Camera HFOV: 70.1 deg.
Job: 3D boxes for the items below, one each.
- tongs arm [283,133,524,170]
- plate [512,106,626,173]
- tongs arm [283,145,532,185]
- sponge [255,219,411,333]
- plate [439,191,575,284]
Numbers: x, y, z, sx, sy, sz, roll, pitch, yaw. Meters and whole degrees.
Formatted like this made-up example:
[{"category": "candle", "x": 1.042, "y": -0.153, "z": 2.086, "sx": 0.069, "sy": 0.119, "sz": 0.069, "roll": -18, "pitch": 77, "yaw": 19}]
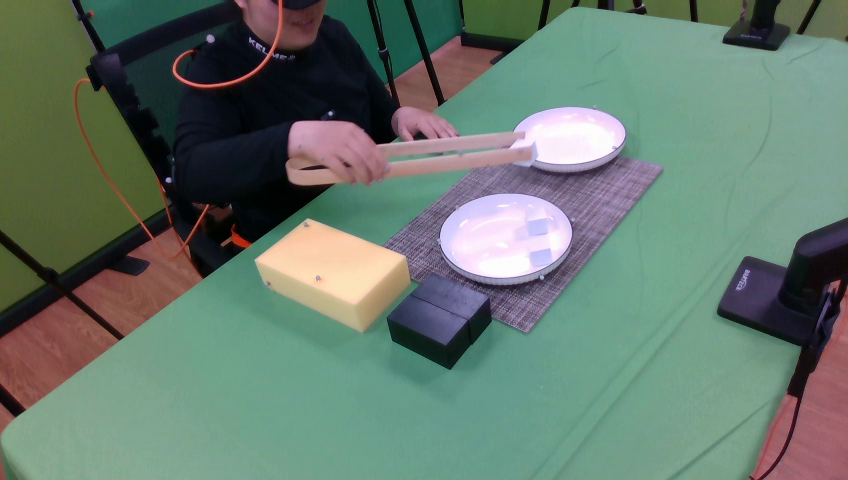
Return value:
[{"category": "tongs arm", "x": -0.027, "y": -0.140, "z": 0.967, "sx": 0.388, "sy": 0.028, "sz": 0.028, "roll": -7, "pitch": 43, "yaw": -7}, {"category": "plate", "x": 0.269, "y": -0.185, "z": 1.132, "sx": 0.209, "sy": 0.038, "sz": 0.208, "roll": -5, "pitch": 40, "yaw": 5}, {"category": "tongs arm", "x": -0.023, "y": -0.122, "z": 0.944, "sx": 0.386, "sy": 0.026, "sz": 0.050, "roll": -9, "pitch": 40, "yaw": -8}, {"category": "sponge", "x": -0.139, "y": 0.048, "z": 0.922, "sx": 0.205, "sy": 0.061, "sz": 0.118, "roll": 19, "pitch": 47, "yaw": 30}, {"category": "plate", "x": 0.129, "y": -0.001, "z": 0.942, "sx": 0.207, "sy": 0.039, "sz": 0.206, "roll": -5, "pitch": 40, "yaw": 5}]
